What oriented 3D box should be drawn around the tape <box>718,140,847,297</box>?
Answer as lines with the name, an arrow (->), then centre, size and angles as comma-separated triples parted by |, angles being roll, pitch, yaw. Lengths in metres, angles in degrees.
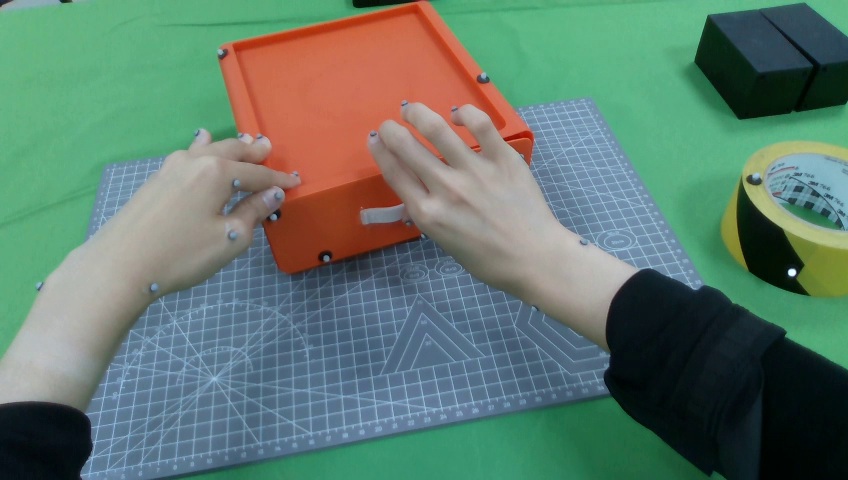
tape -> 0.279, -0.019, 0.439 | 0.117, 0.053, 0.115 | -1, 48, 1

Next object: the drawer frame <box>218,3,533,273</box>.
drawer frame -> -0.049, -0.095, 0.500 | 0.202, 0.083, 0.211 | -18, 49, -12

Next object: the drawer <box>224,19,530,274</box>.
drawer -> -0.047, -0.091, 0.497 | 0.195, 0.074, 0.209 | -17, 49, -11
